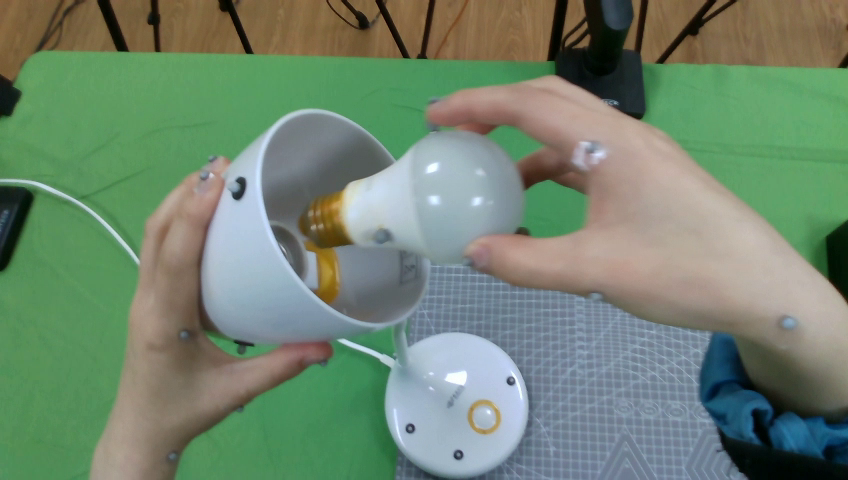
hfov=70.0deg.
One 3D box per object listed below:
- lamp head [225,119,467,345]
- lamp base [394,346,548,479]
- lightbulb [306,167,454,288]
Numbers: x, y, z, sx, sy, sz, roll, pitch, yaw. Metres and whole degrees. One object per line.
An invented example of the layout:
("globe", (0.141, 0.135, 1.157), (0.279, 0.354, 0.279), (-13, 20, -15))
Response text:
("lamp head", (-0.051, 0.011, 0.335), (0.113, 0.123, 0.111), (21, 54, -32))
("lamp base", (0.043, 0.163, 0.620), (0.179, 0.182, 0.159), (9, 65, 10))
("lightbulb", (-0.033, 0.000, 0.315), (0.107, 0.060, 0.059), (-18, 57, 39))
